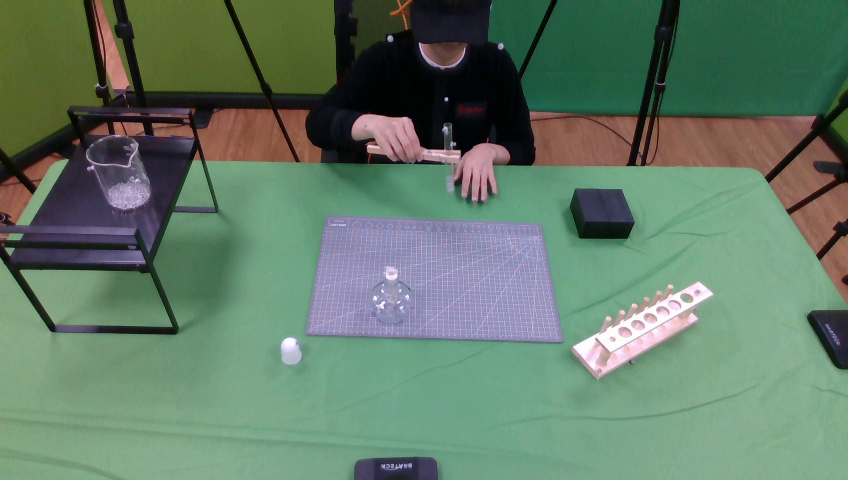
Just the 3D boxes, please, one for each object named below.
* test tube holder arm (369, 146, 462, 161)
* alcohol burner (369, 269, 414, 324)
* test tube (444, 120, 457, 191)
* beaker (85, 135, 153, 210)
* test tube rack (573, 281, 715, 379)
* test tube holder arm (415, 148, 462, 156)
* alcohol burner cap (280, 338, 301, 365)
[{"bbox_3d":[-0.018,-0.160,1.121,0.178,0.015,0.013,5,41,14],"label":"test tube holder arm"},{"bbox_3d":[-0.056,0.089,1.037,0.078,0.120,0.077,1,48,-1],"label":"alcohol burner"},{"bbox_3d":[0.050,-0.152,1.113,0.017,0.151,0.017,-4,42,4],"label":"test tube"},{"bbox_3d":[-0.475,-0.102,0.957,0.083,0.101,0.074,34,53,26],"label":"beaker"},{"bbox_3d":[0.378,0.140,1.038,0.242,0.085,0.066,-22,51,-23],"label":"test tube rack"},{"bbox_3d":[0.027,-0.161,1.116,0.088,0.015,0.010,1,40,9],"label":"test tube holder arm"},{"bbox_3d":[-0.220,0.179,0.993,0.034,0.048,0.033,2,46,-2],"label":"alcohol burner cap"}]
